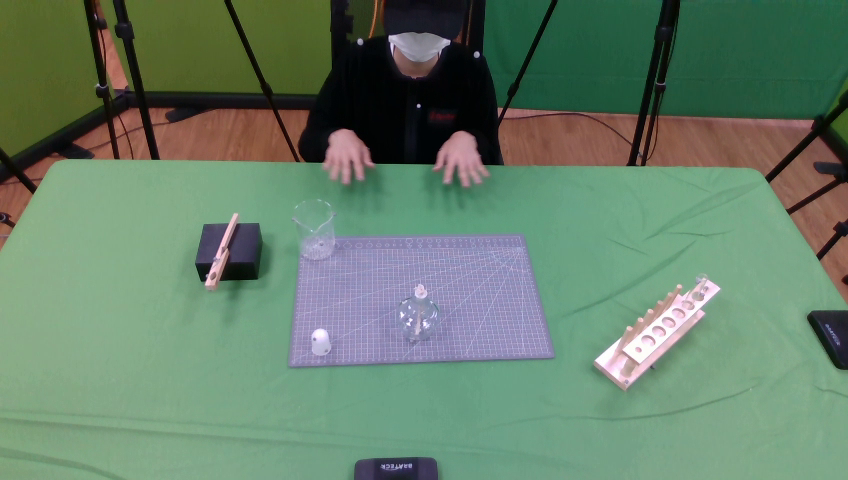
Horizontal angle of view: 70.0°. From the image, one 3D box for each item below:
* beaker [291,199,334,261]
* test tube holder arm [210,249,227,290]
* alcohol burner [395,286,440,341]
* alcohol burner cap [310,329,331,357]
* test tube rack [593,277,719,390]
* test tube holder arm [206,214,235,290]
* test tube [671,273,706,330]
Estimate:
[{"bbox_3d":[-0.206,-0.014,1.138,0.074,0.101,0.083,-7,47,-11],"label":"beaker"},{"bbox_3d":[-0.359,0.050,1.059,0.010,0.015,0.087,8,45,-8],"label":"test tube holder arm"},{"bbox_3d":[-0.010,0.116,1.018,0.078,0.119,0.077,3,47,-3],"label":"alcohol burner"},{"bbox_3d":[-0.173,0.168,1.005,0.034,0.048,0.033,2,46,-2],"label":"alcohol burner cap"},{"bbox_3d":[0.401,0.148,1.043,0.242,0.085,0.066,-30,55,-29],"label":"test tube rack"},{"bbox_3d":[-0.364,0.017,1.090,0.013,0.015,0.177,7,45,-8],"label":"test tube holder arm"},{"bbox_3d":[0.443,0.106,1.018,0.017,0.151,0.017,-1,49,1],"label":"test tube"}]
